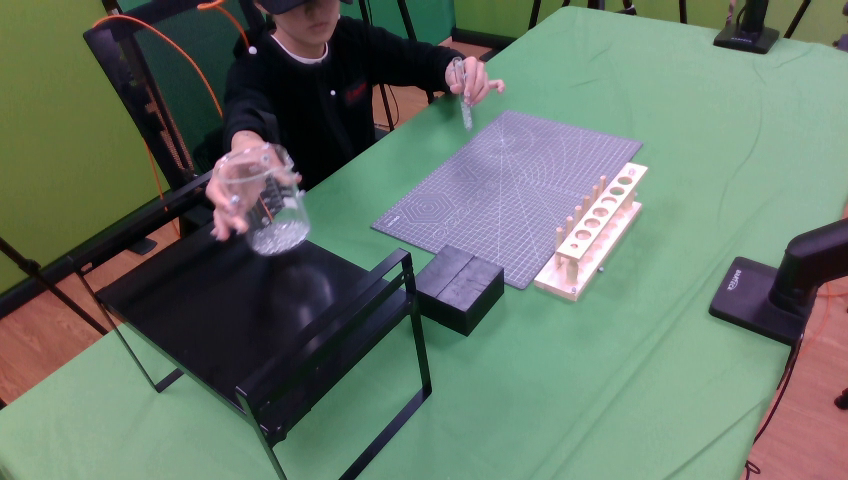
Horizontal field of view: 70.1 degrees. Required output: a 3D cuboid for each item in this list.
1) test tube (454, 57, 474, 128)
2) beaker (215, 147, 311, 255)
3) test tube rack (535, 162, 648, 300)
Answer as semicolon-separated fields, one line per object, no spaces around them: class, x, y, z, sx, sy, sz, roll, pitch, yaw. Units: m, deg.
test tube;0.072;-0.254;1.059;0.017;0.151;0.017;-7;52;9
beaker;-0.168;-0.041;0.659;0.083;0.101;0.074;-1;38;16
test tube rack;0.257;-0.024;0.916;0.066;0.085;0.243;22;49;30
